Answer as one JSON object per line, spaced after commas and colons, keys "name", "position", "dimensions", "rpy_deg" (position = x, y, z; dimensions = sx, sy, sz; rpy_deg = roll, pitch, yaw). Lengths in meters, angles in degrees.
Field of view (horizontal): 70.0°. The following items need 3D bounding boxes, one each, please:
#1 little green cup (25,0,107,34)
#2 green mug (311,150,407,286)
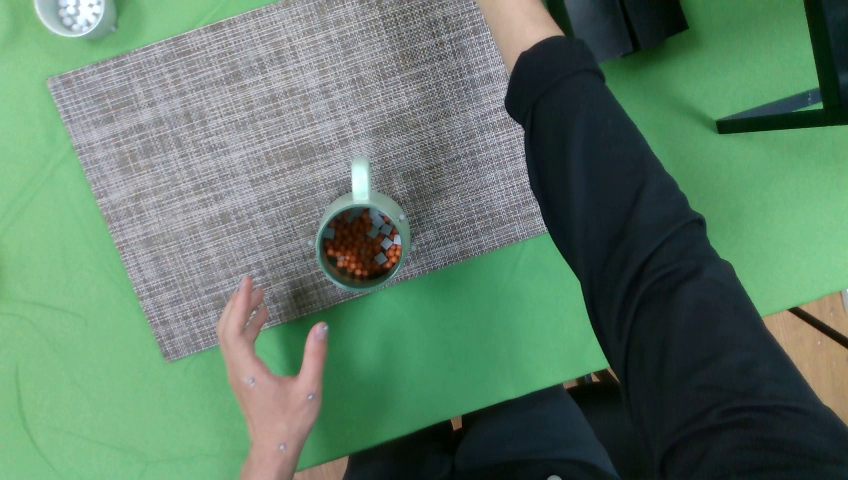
{"name": "little green cup", "position": [-0.326, -0.219, 0.556], "dimensions": [0.061, 0.038, 0.062], "rpy_deg": [-1, 101, -4]}
{"name": "green mug", "position": [-0.062, -0.022, 0.574], "dimensions": [0.092, 0.104, 0.125], "rpy_deg": [-2, 99, -3]}
